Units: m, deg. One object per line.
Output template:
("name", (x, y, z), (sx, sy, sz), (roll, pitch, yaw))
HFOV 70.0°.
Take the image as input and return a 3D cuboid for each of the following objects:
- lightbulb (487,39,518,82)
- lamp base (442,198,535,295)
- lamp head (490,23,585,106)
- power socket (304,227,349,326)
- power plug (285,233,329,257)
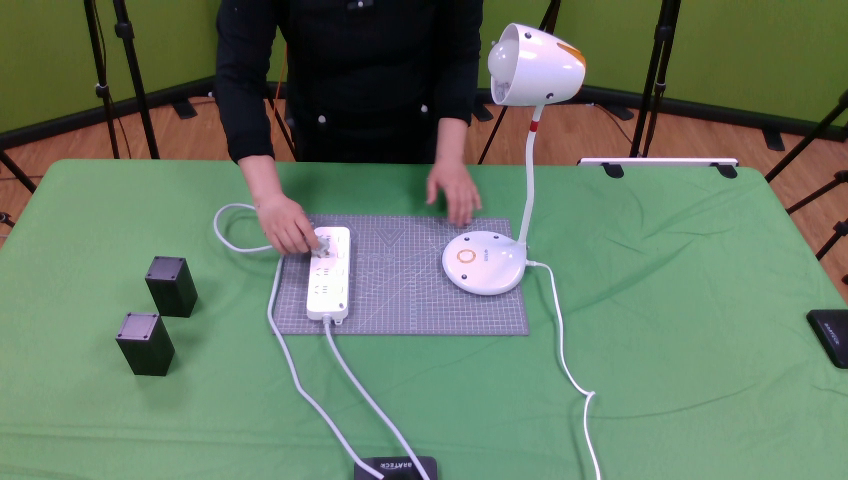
("lightbulb", (0.143, -0.252, 0.865), (0.108, 0.060, 0.059), (9, 45, -7))
("lamp base", (0.130, -0.012, 1.105), (0.179, 0.181, 0.159), (-1, 46, -9))
("lamp head", (0.166, -0.241, 0.872), (0.123, 0.113, 0.111), (9, 43, -17))
("power socket", (-0.176, 0.059, 1.115), (0.072, 0.033, 0.225), (-1, 46, -4))
("power plug", (-0.210, 0.008, 1.113), (0.072, 0.053, 0.035), (7, 49, 18))
